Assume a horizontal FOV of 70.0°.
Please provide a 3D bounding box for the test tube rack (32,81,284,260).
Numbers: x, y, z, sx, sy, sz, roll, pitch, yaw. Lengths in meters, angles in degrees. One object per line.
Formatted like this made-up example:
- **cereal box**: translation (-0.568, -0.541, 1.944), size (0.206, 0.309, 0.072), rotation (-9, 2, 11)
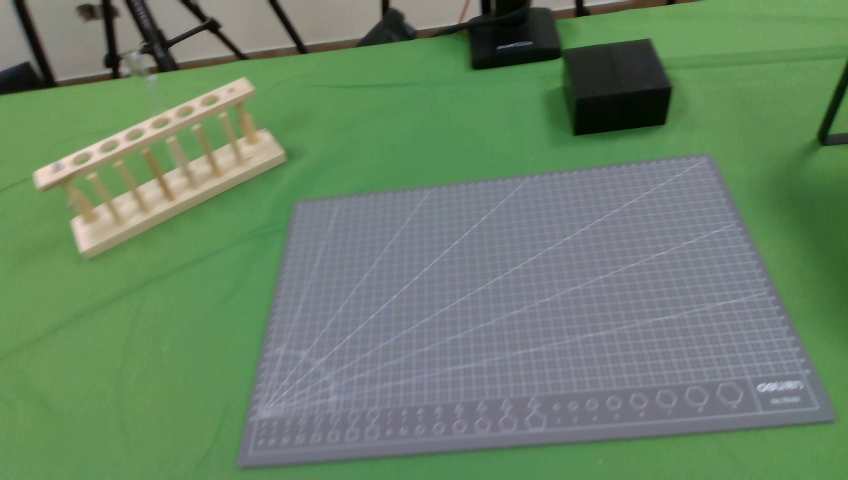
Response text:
- **test tube rack**: translation (-0.292, -0.082, 0.684), size (0.242, 0.086, 0.066), rotation (-30, 50, -16)

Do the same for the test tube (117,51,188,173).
- **test tube**: translation (-0.294, -0.135, 0.664), size (0.017, 0.152, 0.017), rotation (-5, 43, 5)
